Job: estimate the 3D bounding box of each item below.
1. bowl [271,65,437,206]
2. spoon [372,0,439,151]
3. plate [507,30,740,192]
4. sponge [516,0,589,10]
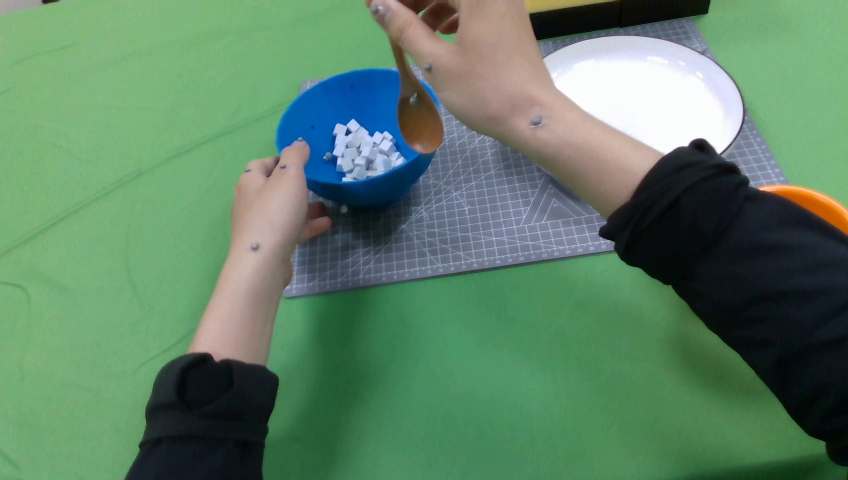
[{"bbox_3d":[-0.057,-0.085,0.566,0.151,0.077,0.150,-5,53,7],"label":"bowl"},{"bbox_3d":[-0.018,-0.128,0.402,0.041,0.195,0.021,20,66,20],"label":"spoon"},{"bbox_3d":[0.184,-0.122,0.578,0.209,0.038,0.207,-4,54,6],"label":"plate"},{"bbox_3d":[0.196,-0.319,0.650,0.207,0.061,0.117,-7,53,4],"label":"sponge"}]
